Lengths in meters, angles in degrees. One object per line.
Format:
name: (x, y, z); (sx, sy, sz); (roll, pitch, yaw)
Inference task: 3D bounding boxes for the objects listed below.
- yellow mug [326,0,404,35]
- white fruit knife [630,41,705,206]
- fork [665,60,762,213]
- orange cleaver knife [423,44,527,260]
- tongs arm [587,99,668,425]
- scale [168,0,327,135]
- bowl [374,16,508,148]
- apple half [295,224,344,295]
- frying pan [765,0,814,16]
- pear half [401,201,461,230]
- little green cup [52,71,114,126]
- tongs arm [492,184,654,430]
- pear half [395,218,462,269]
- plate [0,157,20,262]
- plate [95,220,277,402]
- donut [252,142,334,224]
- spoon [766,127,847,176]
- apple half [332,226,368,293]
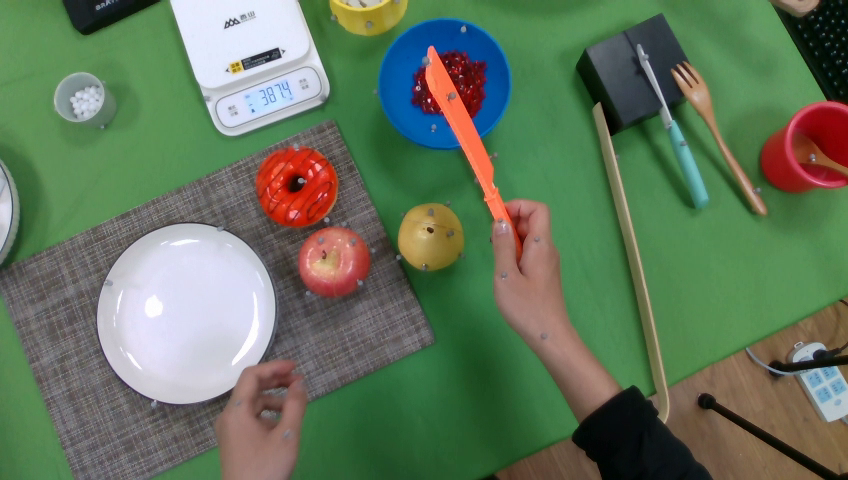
yellow mug: (-0.089, -0.319, 0.733); (0.130, 0.064, 0.100); (32, 86, 5)
white fruit knife: (0.281, -0.133, 0.702); (0.016, 0.027, 0.208); (-27, 99, -2)
fork: (0.342, -0.118, 0.707); (0.028, 0.018, 0.208); (-35, 100, -4)
orange cleaver knife: (0.049, -0.078, 0.558); (0.012, 0.076, 0.213); (-20, 114, 22)
tongs arm: (0.237, 0.020, 0.716); (0.028, 0.028, 0.386); (-10, 84, -9)
scale: (-0.217, -0.243, 0.745); (0.149, 0.031, 0.200); (-21, 85, -1)
bowl: (0.020, -0.174, 0.711); (0.151, 0.077, 0.151); (0, 85, 1)
apple half: (-0.119, 0.021, 0.692); (0.053, 0.075, 0.080); (8, 87, 5)
frying pan: (0.233, -0.398, 0.717); (0.485, 0.103, 0.306); (38, 87, 12)
pear half: (0.009, -0.030, 0.691); (0.070, 0.088, 0.031); (6, 84, 4)
little green cup: (-0.412, -0.170, 0.738); (0.061, 0.039, 0.061); (0, 84, 2)
tongs arm: (0.156, 0.049, 0.708); (0.051, 0.026, 0.384); (-25, 85, -7)
pear half: (0.003, 0.004, 0.677); (0.076, 0.110, 0.056); (7, 83, 6)
plate: (-0.584, -0.031, 0.726); (0.208, 0.039, 0.207); (0, 84, 1)
plate: (-0.271, 0.081, 0.706); (0.209, 0.038, 0.208); (0, 84, 1)
donut: (-0.154, -0.067, 0.716); (0.099, 0.048, 0.099); (0, 86, 3)
spoon: (0.456, -0.075, 0.661); (0.041, 0.022, 0.191); (-30, 40, -3)
apple half: (-0.080, 0.025, 0.690); (0.033, 0.081, 0.081); (8, 84, 5)
